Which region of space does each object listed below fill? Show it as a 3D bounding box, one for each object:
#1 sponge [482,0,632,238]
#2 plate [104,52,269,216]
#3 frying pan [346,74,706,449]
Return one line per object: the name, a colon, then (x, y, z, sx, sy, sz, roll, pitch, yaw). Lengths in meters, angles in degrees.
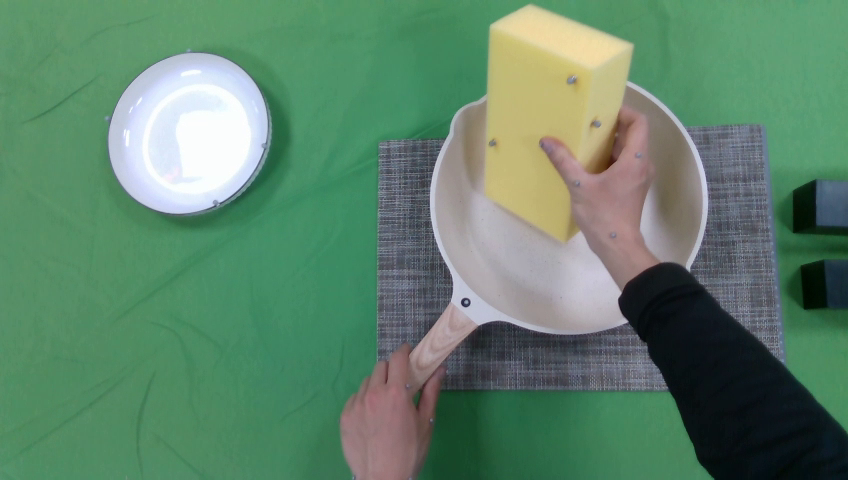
sponge: (0.124, -0.117, 0.613, 0.061, 0.209, 0.117, -36, 54, -28)
plate: (-0.292, -0.129, 0.758, 0.207, 0.039, 0.207, -1, 82, 6)
frying pan: (0.084, 0.028, 0.658, 0.305, 0.103, 0.487, 41, 80, 11)
